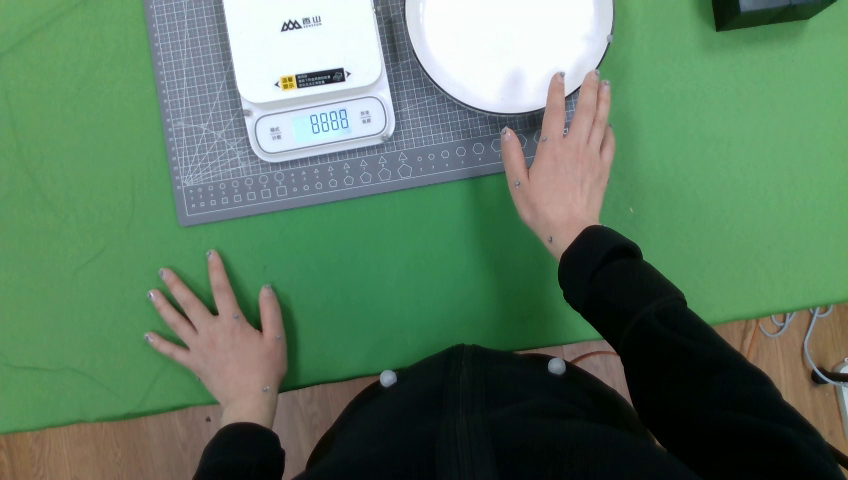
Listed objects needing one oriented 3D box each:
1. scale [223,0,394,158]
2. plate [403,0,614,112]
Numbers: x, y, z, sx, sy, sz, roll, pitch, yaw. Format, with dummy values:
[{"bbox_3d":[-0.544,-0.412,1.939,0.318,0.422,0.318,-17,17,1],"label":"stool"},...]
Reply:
[{"bbox_3d":[-0.118,-0.193,0.612,0.149,0.031,0.200,-10,89,0],"label":"scale"},{"bbox_3d":[0.083,-0.229,0.611,0.209,0.038,0.209,0,88,-1],"label":"plate"}]
